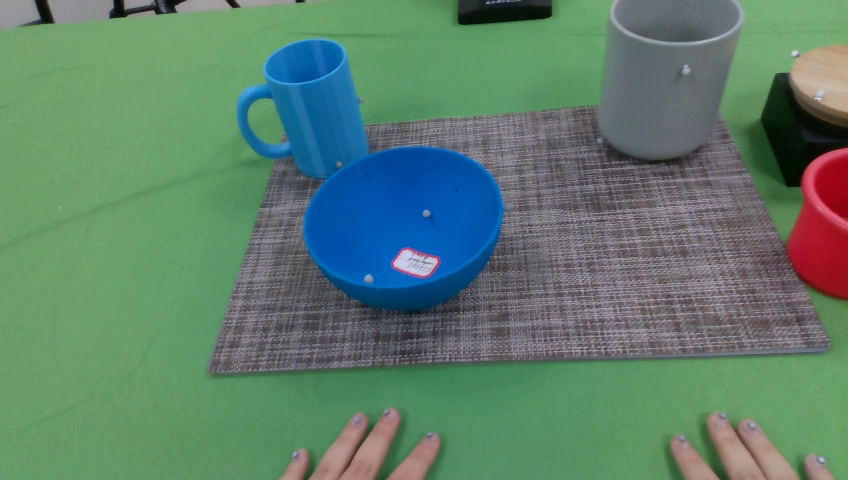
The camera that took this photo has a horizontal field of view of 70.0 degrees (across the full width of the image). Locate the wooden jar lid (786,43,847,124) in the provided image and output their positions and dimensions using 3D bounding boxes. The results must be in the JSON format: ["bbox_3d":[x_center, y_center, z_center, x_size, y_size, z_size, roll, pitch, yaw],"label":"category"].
[{"bbox_3d":[0.366,-0.132,0.514,0.108,0.021,0.107,-5,47,6],"label":"wooden jar lid"}]

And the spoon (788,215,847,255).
[{"bbox_3d":[0.347,-0.023,0.403,0.022,0.193,0.041,47,54,-13],"label":"spoon"}]

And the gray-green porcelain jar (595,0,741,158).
[{"bbox_3d":[0.210,-0.146,0.542,0.106,0.128,0.105,-4,48,5],"label":"gray-green porcelain jar"}]

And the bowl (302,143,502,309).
[{"bbox_3d":[-0.013,0.001,0.475,0.151,0.077,0.150,-4,47,5],"label":"bowl"}]

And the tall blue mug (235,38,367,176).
[{"bbox_3d":[-0.114,-0.118,0.578,0.107,0.109,0.077,-37,54,-23],"label":"tall blue mug"}]
